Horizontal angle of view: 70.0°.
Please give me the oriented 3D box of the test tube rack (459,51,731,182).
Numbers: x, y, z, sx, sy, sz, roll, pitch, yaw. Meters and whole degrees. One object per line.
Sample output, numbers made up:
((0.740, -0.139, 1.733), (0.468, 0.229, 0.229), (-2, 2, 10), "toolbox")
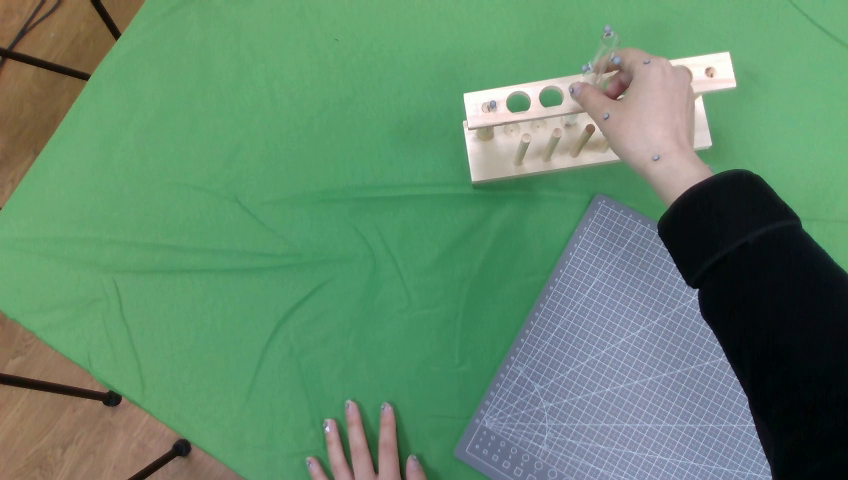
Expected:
((0.158, -0.115, 0.586), (0.242, 0.085, 0.066), (-8, 82, 2), "test tube rack")

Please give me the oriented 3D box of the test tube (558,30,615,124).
((0.141, -0.139, 0.540), (0.017, 0.151, 0.017), (0, 77, 0), "test tube")
